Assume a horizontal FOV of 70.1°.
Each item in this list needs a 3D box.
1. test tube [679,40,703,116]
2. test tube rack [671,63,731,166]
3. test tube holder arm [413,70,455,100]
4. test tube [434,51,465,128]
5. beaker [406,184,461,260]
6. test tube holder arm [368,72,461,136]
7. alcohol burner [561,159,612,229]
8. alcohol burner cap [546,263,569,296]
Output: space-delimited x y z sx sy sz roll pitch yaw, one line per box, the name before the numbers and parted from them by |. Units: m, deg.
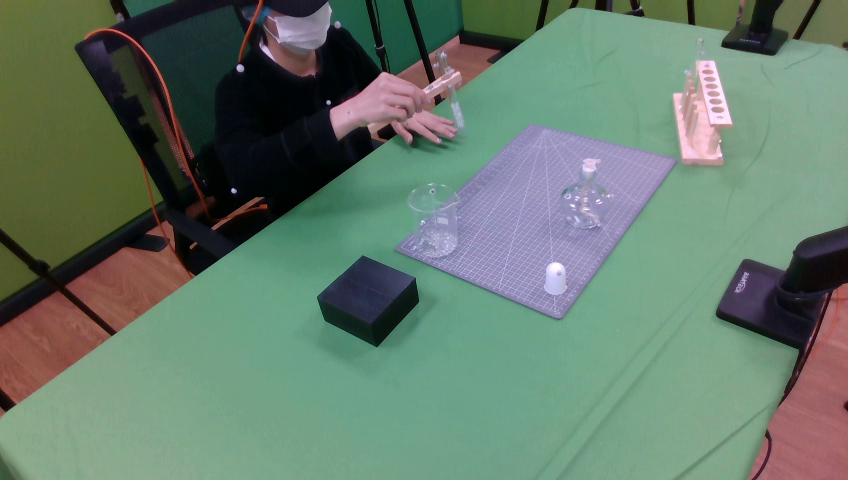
test tube | 0.502 -0.303 1.138 0.017 0.151 0.017 -3 40 3
test tube rack | 0.513 -0.241 1.132 0.066 0.085 0.242 4 41 14
test tube holder arm | 0.018 -0.248 0.985 0.088 0.015 0.010 -41 46 -19
test tube | 0.044 -0.247 1.004 0.017 0.151 0.017 -11 47 13
beaker | 0.019 -0.026 0.939 0.084 0.101 0.074 1 41 9
test tube holder arm | -0.013 -0.219 0.969 0.179 0.015 0.013 -36 44 -14
alcohol burner | 0.257 -0.077 0.951 0.078 0.119 0.077 -3 40 3
alcohol burner cap | 0.191 0.053 0.862 0.034 0.048 0.033 -5 40 4
